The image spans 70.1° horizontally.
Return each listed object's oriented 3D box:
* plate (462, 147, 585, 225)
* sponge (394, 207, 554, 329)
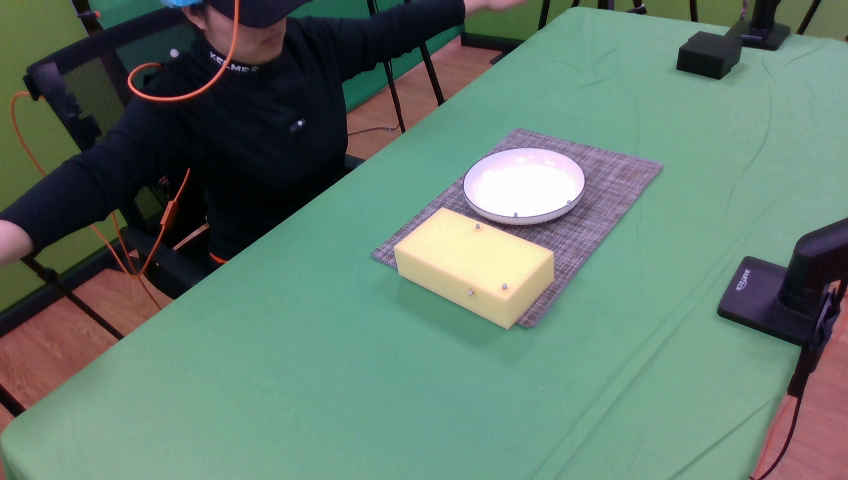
[{"bbox_3d":[0.170,-0.089,1.041,0.207,0.039,0.206,-5,40,5],"label":"plate"},{"bbox_3d":[0.073,0.035,0.895,0.205,0.061,0.118,24,50,33],"label":"sponge"}]
